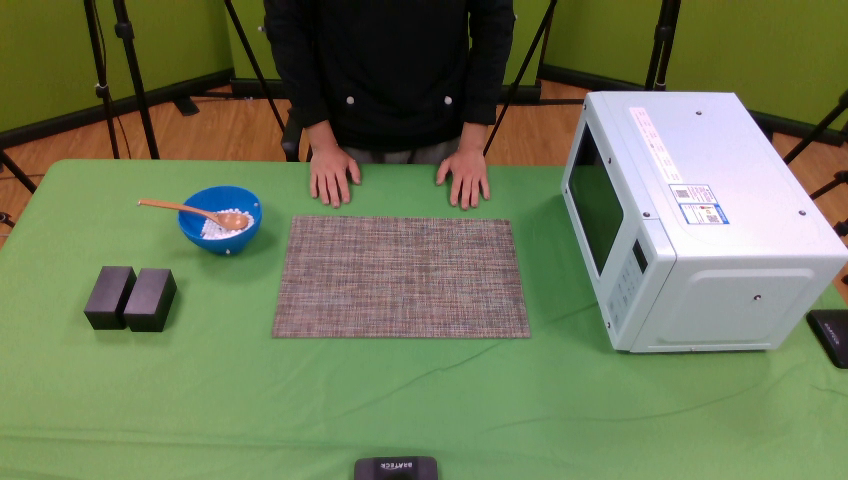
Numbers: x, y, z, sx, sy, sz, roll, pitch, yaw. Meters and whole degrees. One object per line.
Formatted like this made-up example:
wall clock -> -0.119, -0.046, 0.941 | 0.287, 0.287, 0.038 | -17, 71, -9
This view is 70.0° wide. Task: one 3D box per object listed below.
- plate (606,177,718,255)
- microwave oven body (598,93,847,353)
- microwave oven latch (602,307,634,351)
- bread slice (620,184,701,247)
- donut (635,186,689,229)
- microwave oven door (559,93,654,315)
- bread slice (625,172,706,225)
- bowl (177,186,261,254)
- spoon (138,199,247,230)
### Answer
plate -> 0.457, -0.043, 1.180 | 0.208, 0.039, 0.206 | 0, 46, 0
microwave oven body -> 0.475, -0.041, 1.110 | 0.326, 0.261, 0.438 | -1, 45, -4
microwave oven latch -> 0.332, 0.153, 1.044 | 0.030, 0.029, 0.078 | -1, 45, -4
bread slice -> 0.462, -0.044, 1.171 | 0.134, 0.018, 0.107 | 33, 60, 21
donut -> 0.454, -0.062, 1.159 | 0.099, 0.048, 0.098 | -1, 47, 2
microwave oven door -> 0.327, -0.074, 1.123 | 0.039, 0.245, 0.353 | -1, 46, -5
bread slice -> 0.462, -0.079, 1.139 | 0.131, 0.019, 0.105 | 36, 51, 29
bowl -> -0.383, -0.026, 1.158 | 0.151, 0.077, 0.150 | 2, 46, -2
spoon -> -0.431, -0.053, 1.136 | 0.194, 0.022, 0.041 | 15, 48, -20
